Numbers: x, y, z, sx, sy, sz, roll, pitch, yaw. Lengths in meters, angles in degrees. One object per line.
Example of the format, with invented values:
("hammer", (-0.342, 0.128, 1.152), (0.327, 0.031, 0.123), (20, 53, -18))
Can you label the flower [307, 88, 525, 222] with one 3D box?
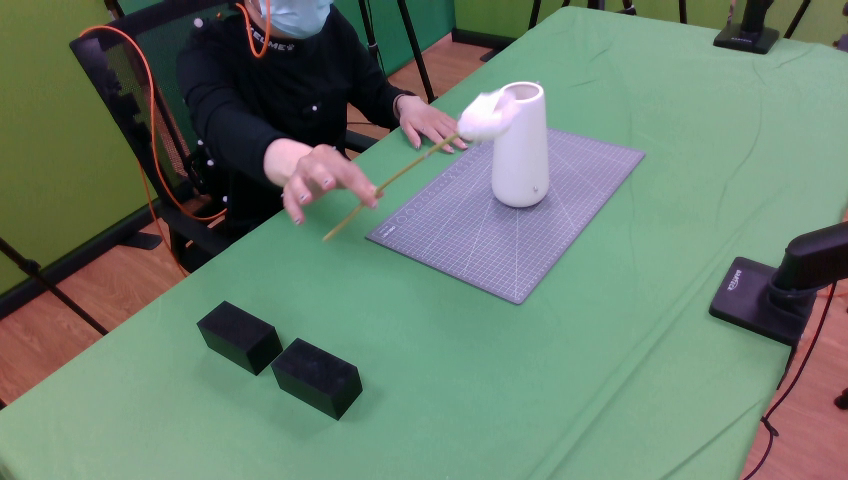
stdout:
("flower", (-0.035, -0.075, 0.669), (0.359, 0.038, 0.044), (-23, 48, 46))

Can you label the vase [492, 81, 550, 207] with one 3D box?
("vase", (0.159, -0.151, 0.982), (0.098, 0.201, 0.097), (-3, 41, 3))
